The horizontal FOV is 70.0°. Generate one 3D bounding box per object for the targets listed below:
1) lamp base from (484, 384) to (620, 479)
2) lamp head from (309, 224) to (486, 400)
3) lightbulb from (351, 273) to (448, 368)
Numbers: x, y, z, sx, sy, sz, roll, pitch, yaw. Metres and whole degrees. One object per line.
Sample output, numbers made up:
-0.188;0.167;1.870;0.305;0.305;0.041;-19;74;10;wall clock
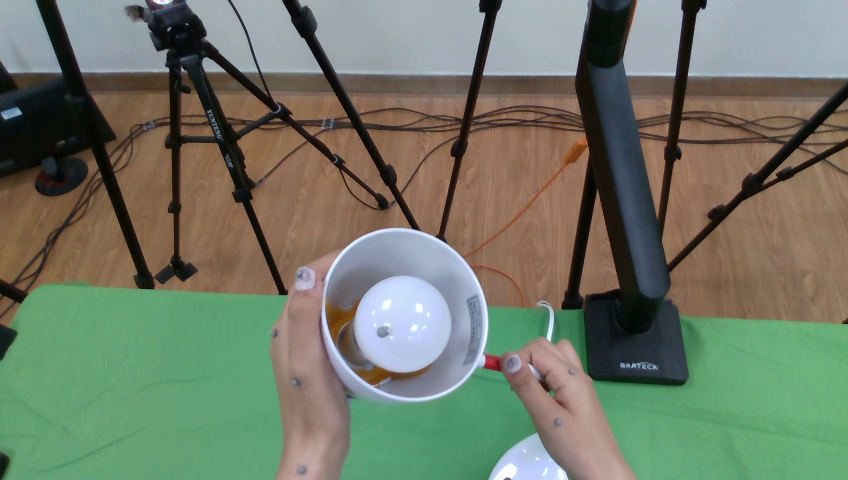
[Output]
0.137;0.235;0.615;0.161;0.182;0.177;-7;51;-1;lamp base
-0.027;0.062;0.423;0.113;0.123;0.111;7;66;-16;lamp head
-0.024;0.057;0.399;0.060;0.107;0.059;8;70;-21;lightbulb
